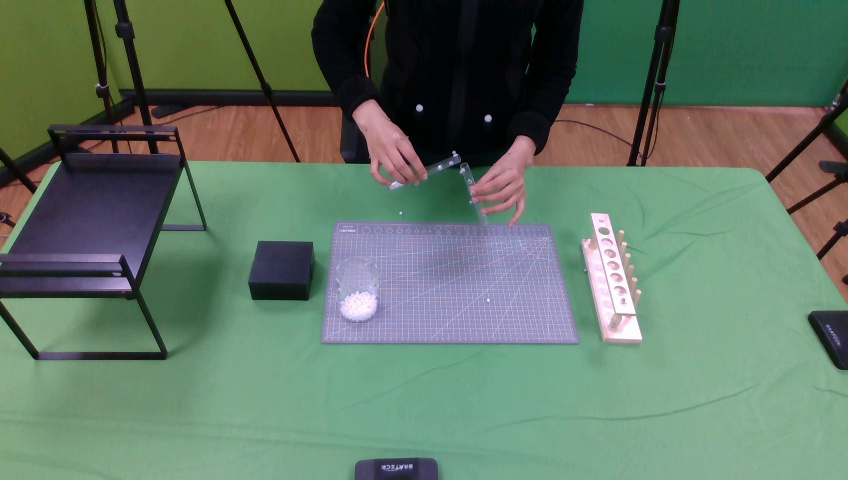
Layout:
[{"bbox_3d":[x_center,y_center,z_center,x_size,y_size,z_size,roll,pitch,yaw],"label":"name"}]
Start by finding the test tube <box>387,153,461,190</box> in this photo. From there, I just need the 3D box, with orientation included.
[{"bbox_3d":[-0.002,-0.122,1.091,0.150,0.017,0.017,-21,42,22],"label":"test tube"}]

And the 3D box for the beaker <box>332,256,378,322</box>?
[{"bbox_3d":[-0.114,0.089,1.047,0.083,0.101,0.074,30,51,21],"label":"beaker"}]

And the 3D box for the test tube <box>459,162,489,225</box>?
[{"bbox_3d":[0.094,-0.083,1.120,0.017,0.151,0.017,-14,42,13],"label":"test tube"}]

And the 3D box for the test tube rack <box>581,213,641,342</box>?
[{"bbox_3d":[0.351,0.064,1.120,0.067,0.085,0.241,3,46,-1],"label":"test tube rack"}]
